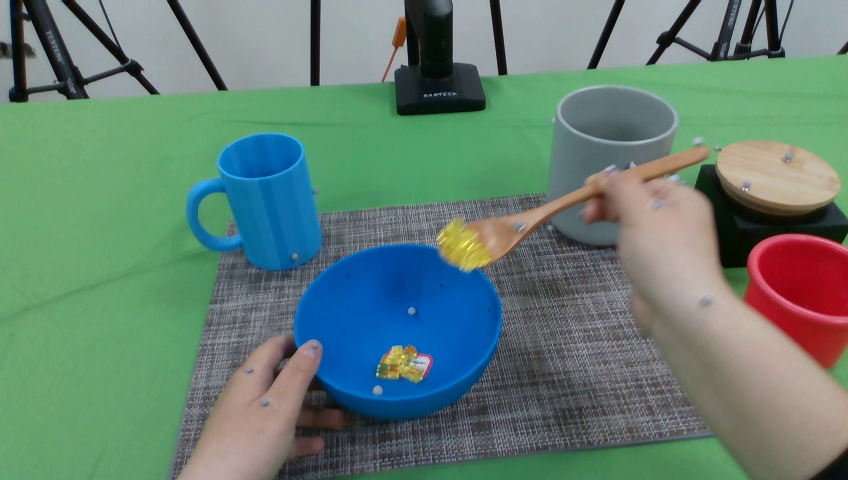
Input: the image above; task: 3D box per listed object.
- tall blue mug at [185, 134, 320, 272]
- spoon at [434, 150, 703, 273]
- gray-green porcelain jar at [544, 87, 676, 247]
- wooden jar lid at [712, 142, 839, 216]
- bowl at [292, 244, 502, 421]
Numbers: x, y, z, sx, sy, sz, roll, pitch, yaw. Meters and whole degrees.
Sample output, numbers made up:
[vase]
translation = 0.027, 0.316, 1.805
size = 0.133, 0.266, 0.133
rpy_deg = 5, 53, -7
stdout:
[tall blue mug]
translation = -0.154, -0.026, 0.563
size = 0.077, 0.109, 0.107
rpy_deg = 29, 50, 29
[spoon]
translation = 0.099, -0.022, 0.416
size = 0.194, 0.022, 0.041
rpy_deg = -24, 45, 7
[gray-green porcelain jar]
translation = 0.171, -0.065, 0.580
size = 0.106, 0.127, 0.105
rpy_deg = -1, 42, 1
[wooden jar lid]
translation = 0.331, -0.058, 0.576
size = 0.108, 0.021, 0.107
rpy_deg = -2, 41, 2
[bowl]
translation = -0.018, 0.081, 0.459
size = 0.151, 0.077, 0.150
rpy_deg = -1, 41, 1
